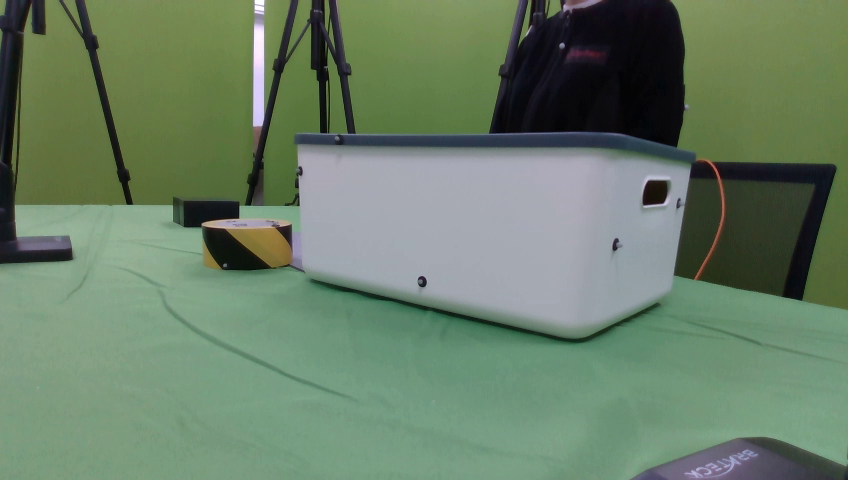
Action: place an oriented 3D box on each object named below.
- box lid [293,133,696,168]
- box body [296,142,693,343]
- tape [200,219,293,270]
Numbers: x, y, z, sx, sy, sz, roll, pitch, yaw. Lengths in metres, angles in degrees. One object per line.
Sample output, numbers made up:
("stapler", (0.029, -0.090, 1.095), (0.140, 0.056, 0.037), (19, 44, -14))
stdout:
("box lid", (0.068, -0.094, 0.645), (0.369, 0.015, 0.265), (9, 8, 37))
("box body", (0.065, -0.020, 0.653), (0.362, 0.160, 0.255), (9, 9, 37))
("tape", (-0.228, 0.004, 0.778), (0.117, 0.052, 0.117), (1, 8, 0))
